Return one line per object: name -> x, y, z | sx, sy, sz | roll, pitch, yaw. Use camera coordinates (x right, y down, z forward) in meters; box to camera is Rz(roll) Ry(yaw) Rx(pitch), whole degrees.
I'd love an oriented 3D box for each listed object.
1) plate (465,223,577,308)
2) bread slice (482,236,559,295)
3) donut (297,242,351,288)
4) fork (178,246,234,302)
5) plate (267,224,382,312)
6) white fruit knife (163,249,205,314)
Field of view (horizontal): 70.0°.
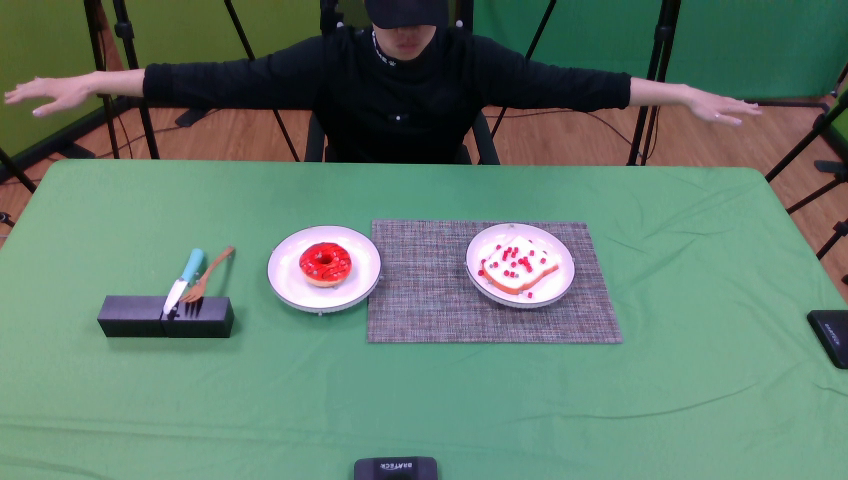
plate -> 0.180, 0.051, 1.144 | 0.209, 0.038, 0.208 | 2, 45, -2
bread slice -> 0.178, 0.050, 1.147 | 0.131, 0.019, 0.104 | -32, 55, -30
donut -> -0.182, 0.045, 1.112 | 0.099, 0.048, 0.098 | 4, 45, -4
fork -> -0.380, 0.057, 1.075 | 0.028, 0.019, 0.206 | 2, 28, 5
plate -> -0.182, 0.055, 1.120 | 0.208, 0.039, 0.206 | 2, 46, -2
white fruit knife -> -0.420, 0.070, 1.063 | 0.027, 0.016, 0.206 | -2, 29, -2
